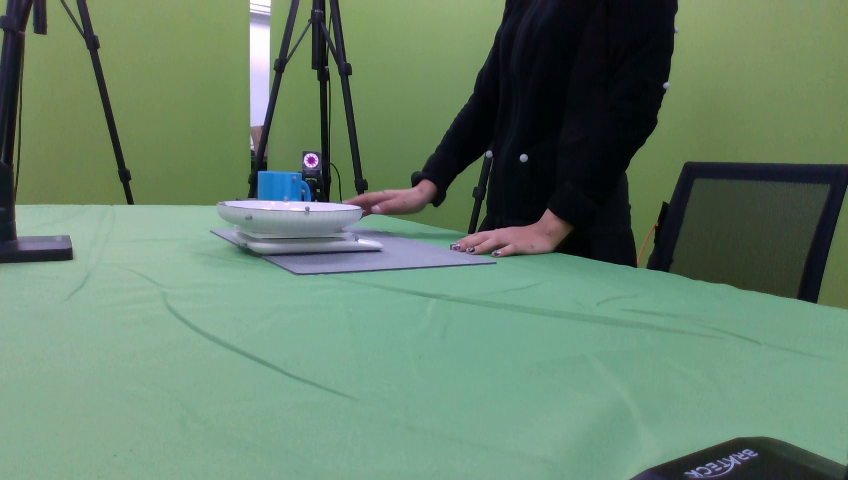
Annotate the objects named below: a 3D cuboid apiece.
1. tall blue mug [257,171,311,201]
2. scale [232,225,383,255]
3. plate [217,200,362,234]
[{"bbox_3d":[-0.258,-0.070,1.107,0.078,0.108,0.107,2,7,5],"label":"tall blue mug"},{"bbox_3d":[-0.177,-0.004,0.920,0.202,0.031,0.148,-1,9,-30],"label":"scale"},{"bbox_3d":[-0.196,-0.035,0.894,0.209,0.038,0.209,2,7,0],"label":"plate"}]
